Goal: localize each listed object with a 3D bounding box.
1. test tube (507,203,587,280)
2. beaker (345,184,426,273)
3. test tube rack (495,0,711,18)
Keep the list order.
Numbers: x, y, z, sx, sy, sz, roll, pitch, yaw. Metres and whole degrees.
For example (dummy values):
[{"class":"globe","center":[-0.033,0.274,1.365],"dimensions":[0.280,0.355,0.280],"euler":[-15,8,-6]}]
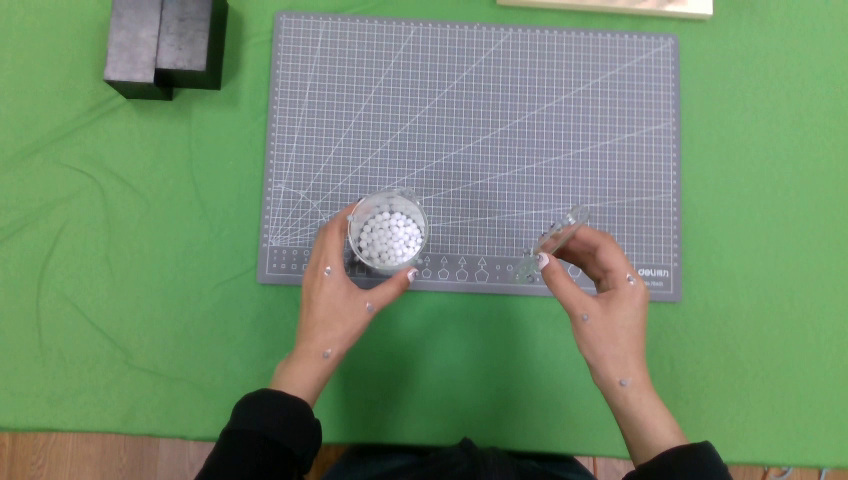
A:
[{"class":"test tube","center":[0.101,0.006,0.520],"dimensions":[0.017,0.151,0.017],"euler":[4,67,-10]},{"class":"beaker","center":[-0.034,-0.008,0.596],"dimensions":[0.074,0.100,0.084],"euler":[25,82,1]},{"class":"test tube rack","center":[0.204,-0.298,0.650],"dimensions":[0.242,0.085,0.066],"euler":[3,83,-2]}]
